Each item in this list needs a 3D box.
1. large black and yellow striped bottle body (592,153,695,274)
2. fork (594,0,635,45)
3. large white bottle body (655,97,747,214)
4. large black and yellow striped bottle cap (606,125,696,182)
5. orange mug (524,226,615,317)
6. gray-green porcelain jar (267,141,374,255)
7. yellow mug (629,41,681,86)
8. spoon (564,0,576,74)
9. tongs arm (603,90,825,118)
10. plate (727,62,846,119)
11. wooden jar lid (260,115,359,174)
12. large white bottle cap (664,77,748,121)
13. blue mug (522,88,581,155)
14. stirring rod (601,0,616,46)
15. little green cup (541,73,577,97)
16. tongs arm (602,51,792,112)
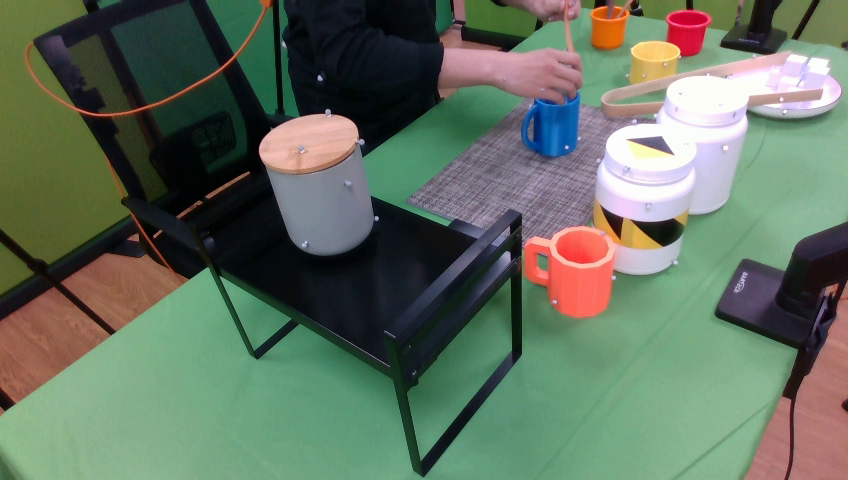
[{"bbox_3d":[0.313,-0.056,0.872,0.131,0.185,0.130,-4,41,4],"label":"large black and yellow striped bottle body"},{"bbox_3d":[0.484,-0.552,1.447,0.207,0.019,0.028,-51,46,17],"label":"fork"},{"bbox_3d":[0.431,-0.148,0.959,0.130,0.185,0.130,-4,41,4],"label":"large white bottle body"},{"bbox_3d":[0.305,-0.119,0.816,0.115,0.019,0.114,-5,41,5],"label":"large black and yellow striped bottle cap"},{"bbox_3d":[0.201,0.039,0.845,0.125,0.101,0.083,18,46,21],"label":"orange mug"},{"bbox_3d":[-0.117,-0.054,0.703,0.106,0.127,0.105,-4,40,4],"label":"gray-green porcelain jar"},{"bbox_3d":[0.495,-0.389,1.321,0.100,0.064,0.130,-14,40,-7],"label":"yellow mug"},{"bbox_3d":[0.254,-0.375,1.059,0.021,0.194,0.042,1,15,24],"label":"spoon"},{"bbox_3d":[0.546,-0.262,1.163,0.386,0.028,0.028,-1,49,18],"label":"tongs arm"},{"bbox_3d":[0.710,-0.292,1.198,0.207,0.039,0.206,-4,40,4],"label":"plate"},{"bbox_3d":[-0.124,-0.101,0.662,0.108,0.021,0.108,-4,41,4],"label":"wooden jar lid"},{"bbox_3d":[0.421,-0.212,0.905,0.115,0.018,0.114,-4,40,4],"label":"large white bottle cap"},{"bbox_3d":[0.234,-0.218,1.127,0.117,0.106,0.081,-22,42,-15],"label":"blue mug"},{"bbox_3d":[0.452,-0.554,1.464,0.014,0.006,0.176,11,86,15],"label":"stirring rod"},{"bbox_3d":[0.228,-0.264,1.030,0.061,0.038,0.061,3,14,0],"label":"little green cup"},{"bbox_3d":[0.552,-0.320,1.224,0.384,0.027,0.050,-10,44,7],"label":"tongs arm"}]
